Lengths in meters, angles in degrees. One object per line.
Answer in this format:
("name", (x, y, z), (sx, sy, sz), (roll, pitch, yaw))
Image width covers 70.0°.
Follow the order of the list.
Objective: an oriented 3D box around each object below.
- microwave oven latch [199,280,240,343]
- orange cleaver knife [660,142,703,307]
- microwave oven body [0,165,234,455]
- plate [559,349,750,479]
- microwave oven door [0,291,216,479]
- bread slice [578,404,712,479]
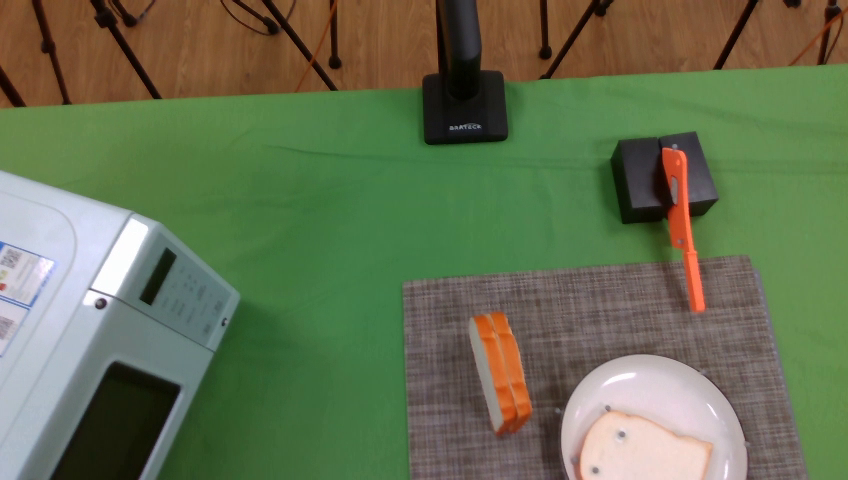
("microwave oven latch", (-0.256, 0.086, 0.748), (0.030, 0.030, 0.079), (18, 72, 9))
("orange cleaver knife", (0.320, -0.022, 0.761), (0.012, 0.077, 0.211), (-8, 90, 2))
("microwave oven body", (-0.457, 0.166, 0.623), (0.325, 0.262, 0.439), (17, 71, 8))
("plate", (0.256, 0.230, 0.688), (0.207, 0.039, 0.206), (-1, 69, 2))
("microwave oven door", (-0.332, 0.242, 0.583), (0.039, 0.245, 0.354), (16, 71, 9))
("bread slice", (0.243, 0.248, 0.679), (0.134, 0.018, 0.106), (18, 68, 12))
